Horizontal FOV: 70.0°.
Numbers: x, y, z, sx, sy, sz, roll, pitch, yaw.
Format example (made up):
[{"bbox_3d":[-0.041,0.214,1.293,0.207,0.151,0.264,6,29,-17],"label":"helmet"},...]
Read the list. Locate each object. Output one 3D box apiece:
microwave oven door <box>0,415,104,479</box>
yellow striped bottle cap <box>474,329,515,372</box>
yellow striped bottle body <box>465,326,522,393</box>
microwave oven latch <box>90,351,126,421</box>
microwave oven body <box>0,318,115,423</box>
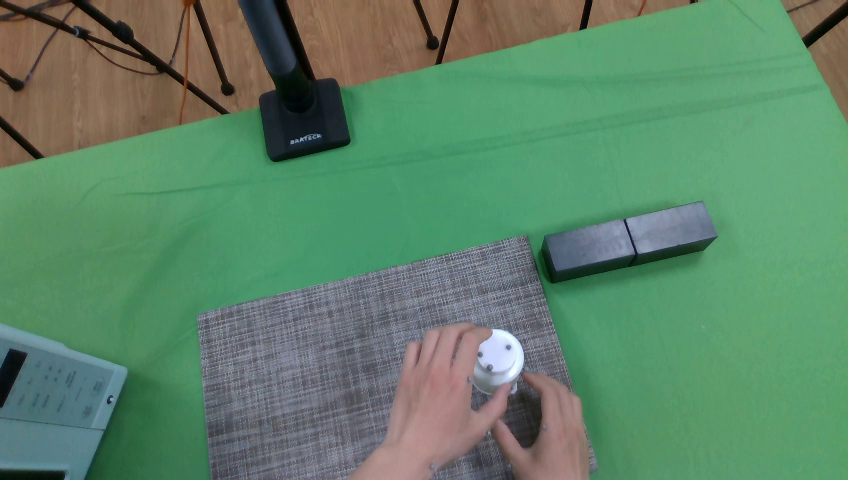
[{"bbox_3d":[-0.463,0.344,0.581,0.039,0.245,0.354,12,71,10],"label":"microwave oven door"},{"bbox_3d":[0.075,0.118,0.645,0.044,0.019,0.044,-2,70,6],"label":"yellow striped bottle cap"},{"bbox_3d":[0.078,0.136,0.694,0.063,0.121,0.062,-2,69,4],"label":"yellow striped bottle body"},{"bbox_3d":[-0.396,0.180,0.745,0.030,0.030,0.079,15,72,9],"label":"microwave oven latch"},{"bbox_3d":[-0.592,0.276,0.621,0.325,0.262,0.439,13,72,8],"label":"microwave oven body"}]
